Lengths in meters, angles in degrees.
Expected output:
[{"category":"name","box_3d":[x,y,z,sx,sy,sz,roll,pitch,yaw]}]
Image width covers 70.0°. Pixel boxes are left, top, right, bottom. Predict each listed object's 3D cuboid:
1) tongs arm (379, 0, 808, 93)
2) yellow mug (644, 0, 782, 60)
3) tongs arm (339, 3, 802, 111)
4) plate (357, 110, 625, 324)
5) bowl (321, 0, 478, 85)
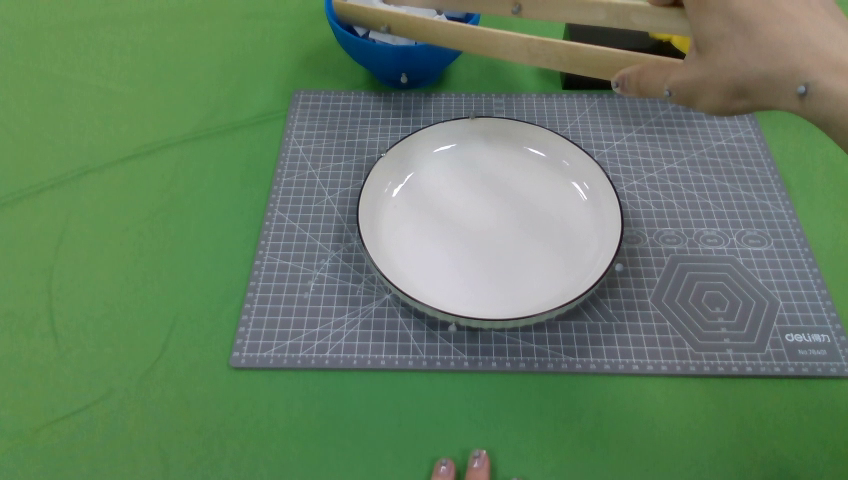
[{"category":"tongs arm","box_3d":[0.084,-0.167,0.464,0.381,0.027,0.050,21,63,35]},{"category":"yellow mug","box_3d":[0.260,-0.219,0.552,0.131,0.064,0.099,-12,55,-7]},{"category":"tongs arm","box_3d":[0.066,-0.147,0.455,0.384,0.028,0.028,25,62,36]},{"category":"plate","box_3d":[0.052,-0.021,0.488,0.208,0.039,0.205,0,54,0]},{"category":"bowl","box_3d":[-0.021,-0.209,0.601,0.151,0.077,0.150,0,54,1]}]
